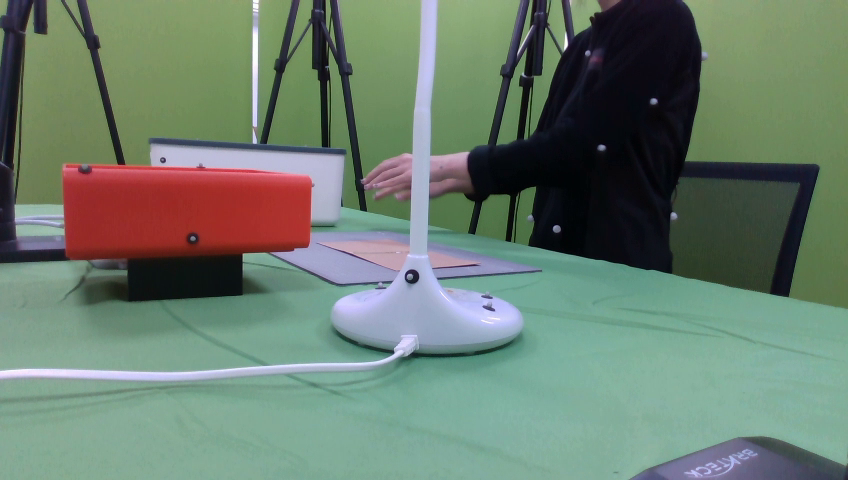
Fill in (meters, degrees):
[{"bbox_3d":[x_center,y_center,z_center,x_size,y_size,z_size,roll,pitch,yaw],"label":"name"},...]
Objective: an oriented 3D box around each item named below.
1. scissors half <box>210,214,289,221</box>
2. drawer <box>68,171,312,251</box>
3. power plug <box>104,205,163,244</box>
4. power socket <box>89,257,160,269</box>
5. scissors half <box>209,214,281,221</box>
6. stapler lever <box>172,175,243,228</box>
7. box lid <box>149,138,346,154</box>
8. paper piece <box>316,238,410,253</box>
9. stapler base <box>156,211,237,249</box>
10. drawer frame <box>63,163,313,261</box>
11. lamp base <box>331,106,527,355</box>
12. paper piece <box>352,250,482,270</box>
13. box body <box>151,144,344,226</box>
[{"bbox_3d":[-0.357,-0.044,1.235,0.175,0.013,0.040,1,-4,9],"label":"scissors half"},{"bbox_3d":[-0.247,-0.036,0.629,0.213,0.073,0.193,-3,9,-30],"label":"drawer"},{"bbox_3d":[-0.390,-0.021,0.815,0.073,0.052,0.035,-1,7,-28],"label":"power plug"},{"bbox_3d":[-0.409,0.004,0.793,0.072,0.032,0.225,-2,8,-38],"label":"power socket"},{"bbox_3d":[-0.364,-0.044,1.216,0.174,0.013,0.040,0,1,26],"label":"scissors half"},{"bbox_3d":[-0.217,-0.041,0.618,0.027,0.040,0.118,19,11,-2],"label":"stapler lever"},{"bbox_3d":[-0.365,-0.191,1.255,0.373,0.015,0.262,-1,8,-24],"label":"box lid"},{"bbox_3d":[-0.083,0.008,0.952,0.136,0.004,0.134,-2,9,-31],"label":"paper piece"},{"bbox_3d":[-0.227,-0.017,0.624,0.041,0.024,0.130,19,9,-2],"label":"stapler base"},{"bbox_3d":[-0.248,-0.036,0.626,0.215,0.082,0.200,-3,9,-31],"label":"drawer frame"},{"bbox_3d":[0.006,-0.012,0.478,0.161,0.180,0.179,2,10,2],"label":"lamp base"},{"bbox_3d":[-0.013,0.026,0.842,0.139,0.008,0.135,0,11,-32],"label":"paper piece"},{"bbox_3d":[-0.370,-0.119,1.264,0.366,0.160,0.253,-1,8,-24],"label":"box body"}]
